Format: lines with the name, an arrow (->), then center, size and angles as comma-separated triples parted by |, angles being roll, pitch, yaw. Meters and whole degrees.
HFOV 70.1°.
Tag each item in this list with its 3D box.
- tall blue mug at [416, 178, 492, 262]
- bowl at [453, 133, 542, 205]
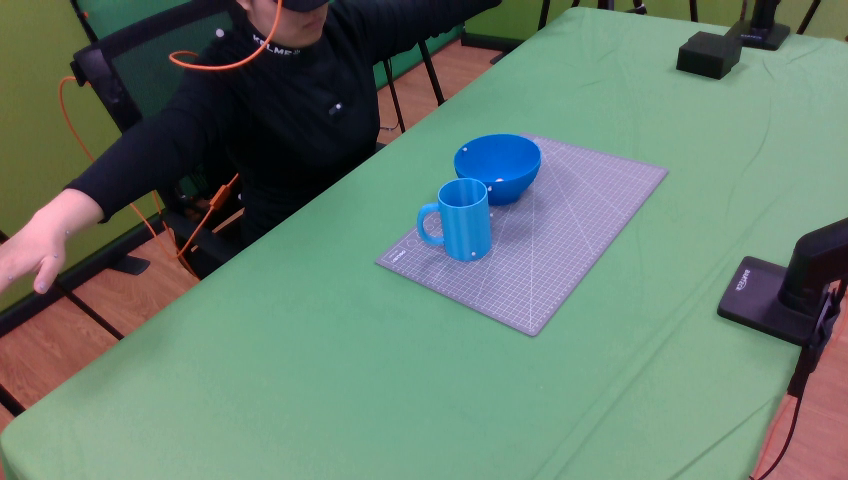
tall blue mug -> 0.051, -0.025, 0.930 | 0.107, 0.108, 0.077 | -27, 44, -20
bowl -> 0.129, -0.112, 1.045 | 0.151, 0.077, 0.150 | -5, 40, 5
